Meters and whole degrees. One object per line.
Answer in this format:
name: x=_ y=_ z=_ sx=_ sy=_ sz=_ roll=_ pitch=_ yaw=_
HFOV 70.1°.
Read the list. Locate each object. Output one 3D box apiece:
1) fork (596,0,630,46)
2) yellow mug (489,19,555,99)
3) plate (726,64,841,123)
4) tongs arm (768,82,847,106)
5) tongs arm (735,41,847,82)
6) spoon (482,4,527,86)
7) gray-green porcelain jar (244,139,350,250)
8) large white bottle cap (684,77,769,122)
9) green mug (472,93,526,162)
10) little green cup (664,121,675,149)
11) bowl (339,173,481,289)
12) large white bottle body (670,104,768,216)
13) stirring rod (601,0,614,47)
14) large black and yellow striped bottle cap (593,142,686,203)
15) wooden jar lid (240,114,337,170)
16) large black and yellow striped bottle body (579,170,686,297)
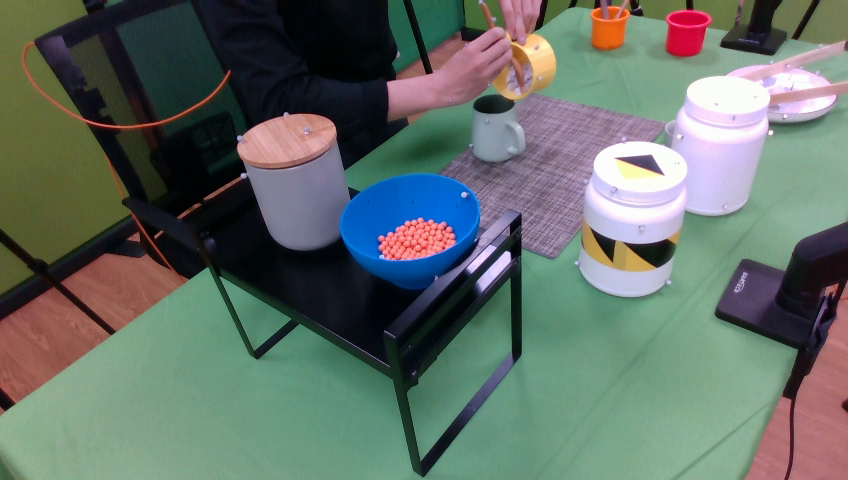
fork: x=0.481 y=-0.556 z=1.452 sx=0.028 sy=0.019 sz=0.207 roll=40 pitch=103 yaw=38
yellow mug: x=0.170 y=-0.322 z=1.071 sx=0.064 sy=0.131 sz=0.099 roll=-30 pitch=26 yaw=-36
plate: x=0.695 y=-0.283 z=1.189 sx=0.207 sy=0.039 sz=0.206 roll=-4 pitch=40 yaw=4
tongs arm: x=0.738 y=-0.282 z=1.134 sx=0.388 sy=0.028 sz=0.028 roll=-9 pitch=46 yaw=-5
tongs arm: x=0.712 y=-0.332 z=1.194 sx=0.386 sy=0.026 sz=0.050 roll=-18 pitch=45 yaw=-16
spoon: x=0.133 y=-0.317 z=0.990 sx=0.021 sy=0.195 sz=0.041 roll=-29 pitch=57 yaw=19
gray-green porcelain jar: x=-0.143 y=-0.060 z=0.714 sx=0.106 sy=0.127 sz=0.105 roll=-4 pitch=41 yaw=4
large white bottle cap: x=0.448 y=-0.209 z=0.898 sx=0.115 sy=0.018 sz=0.114 roll=-4 pitch=40 yaw=4
green mug: x=0.144 y=-0.202 z=1.122 sx=0.093 sy=0.105 sz=0.124 roll=-29 pitch=45 yaw=-23
little green cup: x=0.472 y=-0.188 z=1.113 sx=0.061 sy=0.039 sz=0.061 roll=-5 pitch=40 yaw=4
bowl: x=-0.011 y=0.001 z=0.660 sx=0.151 sy=0.077 sz=0.150 roll=-5 pitch=41 yaw=5
large white bottle body: x=0.458 y=-0.146 z=0.953 sx=0.130 sy=0.185 sz=0.130 roll=-4 pitch=40 yaw=4
stirring rod: x=0.440 y=-0.552 z=1.463 sx=0.014 sy=0.006 sz=0.175 roll=-7 pitch=83 yaw=2
large black and yellow striped bottle cap: x=0.280 y=-0.090 z=0.786 sx=0.115 sy=0.019 sz=0.114 roll=-5 pitch=41 yaw=5
wooden jar lid: x=-0.149 y=-0.106 z=0.673 sx=0.108 sy=0.021 sz=0.108 roll=-6 pitch=39 yaw=5
large black and yellow striped bottle body: x=0.287 y=-0.027 z=0.841 sx=0.131 sy=0.185 sz=0.130 roll=-4 pitch=40 yaw=4
